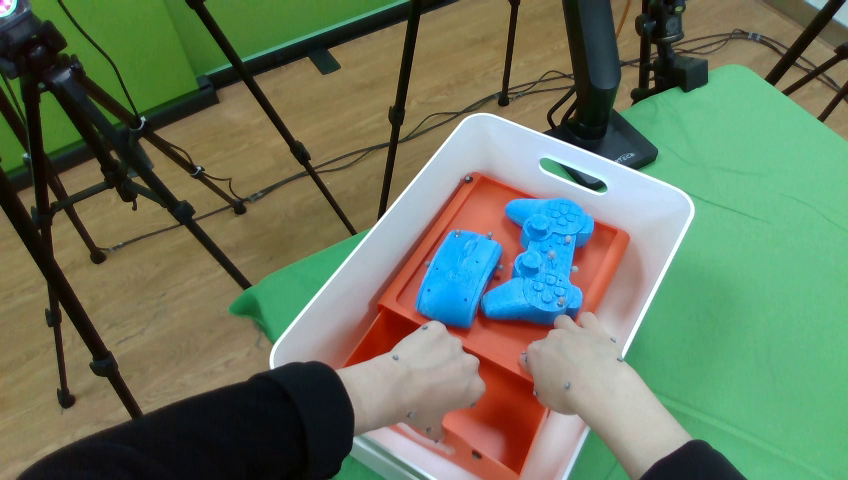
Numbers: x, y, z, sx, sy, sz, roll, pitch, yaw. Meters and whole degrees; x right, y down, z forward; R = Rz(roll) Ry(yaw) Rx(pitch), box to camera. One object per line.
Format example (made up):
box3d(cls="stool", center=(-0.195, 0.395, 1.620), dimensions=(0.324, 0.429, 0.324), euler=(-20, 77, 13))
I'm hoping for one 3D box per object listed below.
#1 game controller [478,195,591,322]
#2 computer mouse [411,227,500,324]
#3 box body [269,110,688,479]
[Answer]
box3d(cls="game controller", center=(0.118, 0.013, 0.627), dimensions=(0.097, 0.052, 0.154), euler=(14, 56, 7))
box3d(cls="computer mouse", center=(0.034, 0.030, 0.622), dimensions=(0.062, 0.041, 0.116), euler=(17, 51, 15))
box3d(cls="box body", center=(0.065, 0.072, 0.607), dimensions=(0.253, 0.162, 0.362), euler=(26, 60, 18))
